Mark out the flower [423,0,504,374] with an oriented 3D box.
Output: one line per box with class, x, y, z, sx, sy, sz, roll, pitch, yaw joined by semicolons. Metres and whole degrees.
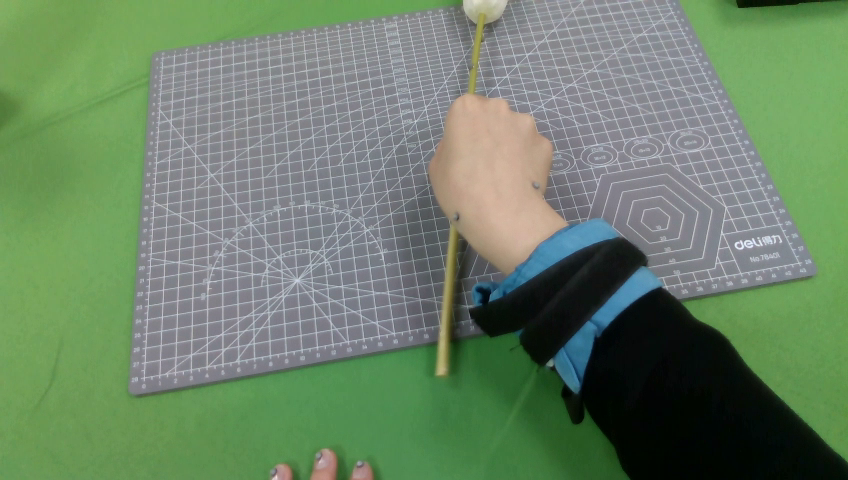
flower;0.028;-0.080;0.444;0.038;0.044;0.359;-6;62;29
